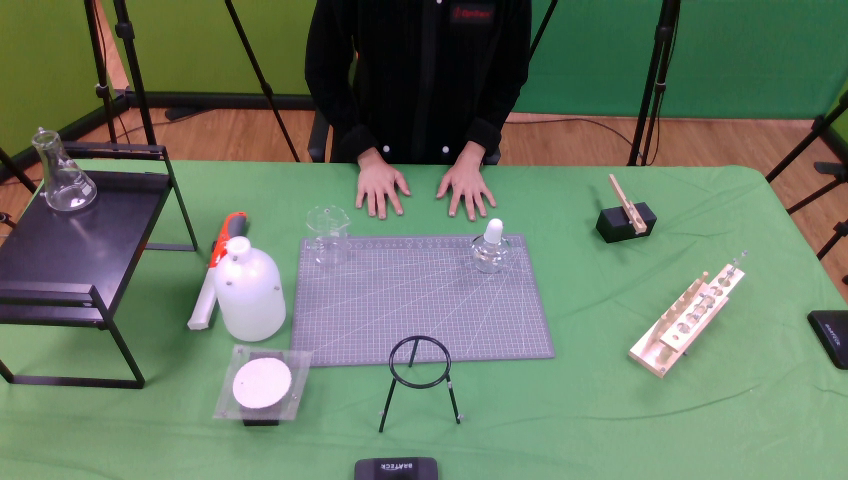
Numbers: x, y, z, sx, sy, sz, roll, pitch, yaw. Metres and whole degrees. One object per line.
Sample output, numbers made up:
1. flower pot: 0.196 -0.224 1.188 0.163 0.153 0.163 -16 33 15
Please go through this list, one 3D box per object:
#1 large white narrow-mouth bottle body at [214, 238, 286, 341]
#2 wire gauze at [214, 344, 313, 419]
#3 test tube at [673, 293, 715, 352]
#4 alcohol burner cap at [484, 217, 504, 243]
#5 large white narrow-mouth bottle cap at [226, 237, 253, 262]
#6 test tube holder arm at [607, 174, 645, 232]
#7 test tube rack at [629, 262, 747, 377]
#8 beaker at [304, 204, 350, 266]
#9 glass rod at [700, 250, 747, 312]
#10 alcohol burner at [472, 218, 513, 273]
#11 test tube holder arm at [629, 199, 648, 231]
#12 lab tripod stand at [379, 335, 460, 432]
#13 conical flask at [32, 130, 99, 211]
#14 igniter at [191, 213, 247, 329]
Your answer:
1. large white narrow-mouth bottle body: -0.285 0.073 0.986 0.102 0.195 0.101 2 46 -2
2. wire gauze: -0.241 0.213 0.916 0.121 0.011 0.124 5 46 1
3. test tube: 0.429 0.137 0.979 0.017 0.151 0.017 5 46 -5
4. alcohol burner cap: 0.130 -0.021 1.107 0.034 0.048 0.033 6 46 -6
5. large white narrow-mouth bottle cap: -0.281 0.014 0.923 0.038 0.024 0.037 2 46 -2
6. test tube holder arm: 0.411 -0.080 1.238 0.013 0.015 0.177 1 42 -13
7. test tube rack: 0.464 0.126 1.061 0.242 0.085 0.066 -34 56 -31
8. beaker: -0.178 -0.006 1.132 0.084 0.101 0.073 4 46 -1
9. glass rod: 0.500 0.075 1.021 0.008 0.201 0.008 0 54 1
10. alcohol burner: 0.129 0.005 1.132 0.078 0.120 0.077 0 47 0
11. test tube holder arm: 0.423 -0.050 1.206 0.010 0.015 0.087 1 41 -12
12. lab tripod stand: -0.011 0.214 0.912 0.148 0.132 0.147 1 45 0
13. conical flask: -0.565 -0.110 0.944 0.075 0.122 0.075 2 46 -2
14. igniter: -0.376 0.047 1.121 0.057 0.025 0.275 -4 46 6
